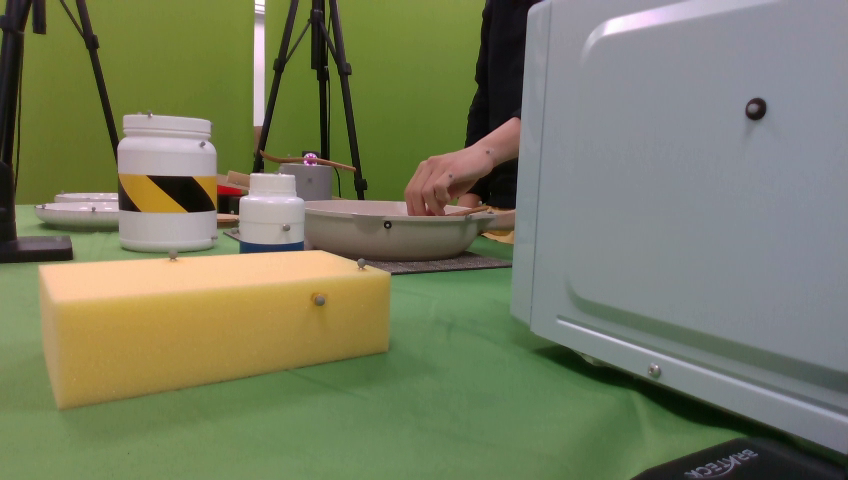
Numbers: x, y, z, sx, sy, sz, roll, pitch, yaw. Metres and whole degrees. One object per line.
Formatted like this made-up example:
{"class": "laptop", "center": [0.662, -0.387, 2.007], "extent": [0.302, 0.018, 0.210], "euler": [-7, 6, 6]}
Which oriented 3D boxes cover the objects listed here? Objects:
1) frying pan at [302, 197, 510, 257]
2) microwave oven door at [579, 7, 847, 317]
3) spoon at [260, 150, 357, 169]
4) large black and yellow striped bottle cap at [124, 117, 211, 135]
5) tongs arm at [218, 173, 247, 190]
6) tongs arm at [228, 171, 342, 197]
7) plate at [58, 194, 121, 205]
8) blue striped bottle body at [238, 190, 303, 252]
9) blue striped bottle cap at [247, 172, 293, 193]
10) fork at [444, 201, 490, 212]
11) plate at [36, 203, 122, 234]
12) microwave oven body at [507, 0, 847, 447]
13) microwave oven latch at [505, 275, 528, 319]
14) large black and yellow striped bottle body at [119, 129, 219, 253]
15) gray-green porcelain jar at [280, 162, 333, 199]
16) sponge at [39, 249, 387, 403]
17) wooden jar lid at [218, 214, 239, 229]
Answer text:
{"class": "frying pan", "center": [0.050, -0.035, 0.915], "extent": [0.487, 0.102, 0.307], "euler": [-5, 7, 10]}
{"class": "microwave oven door", "center": [0.294, -0.067, 0.570], "extent": [0.358, 0.243, 0.039], "euler": [-3, 9, -31]}
{"class": "spoon", "center": [-0.231, -0.162, 1.221], "extent": [0.194, 0.021, 0.041], "euler": [3, 3, -16]}
{"class": "large black and yellow striped bottle cap", "center": [-0.366, -0.163, 0.866], "extent": [0.115, 0.019, 0.115], "euler": [3, 7, 0]}
{"class": "tongs arm", "center": [-0.315, -0.110, 1.448], "extent": [0.389, 0.027, 0.028], "euler": [11, -7, -26]}
{"class": "tongs arm", "center": [-0.267, -0.103, 1.378], "extent": [0.387, 0.026, 0.050], "euler": [11, -3, -40]}
{"class": "plate", "center": [-0.671, -0.074, 1.310], "extent": [0.209, 0.038, 0.209], "euler": [2, 8, 0]}
{"class": "blue striped bottle body", "center": [-0.153, -0.007, 0.606], "extent": [0.063, 0.120, 0.063], "euler": [2, 8, 0]}
{"class": "blue striped bottle cap", "center": [-0.152, -0.057, 0.598], "extent": [0.044, 0.020, 0.044], "euler": [3, 7, 0]}
{"class": "fork", "center": [-0.006, -0.020, 0.852], "extent": [0.207, 0.018, 0.028], "euler": [-22, -2, 10]}
{"class": "plate", "center": [-0.571, -0.040, 1.083], "extent": [0.208, 0.039, 0.207], "euler": [2, 8, 0]}
{"class": "microwave oven body", "center": [0.331, -0.042, 0.425], "extent": [0.444, 0.260, 0.324], "euler": [-2, 8, -31]}
{"class": "microwave oven latch", "center": [0.100, 0.041, 0.471], "extent": [0.079, 0.029, 0.030], "euler": [-1, 7, -28]}
{"class": "large black and yellow striped bottle body", "center": [-0.367, -0.080, 0.876], "extent": [0.131, 0.184, 0.130], "euler": [2, 7, 0]}
{"class": "gray-green porcelain jar", "center": [-0.238, -0.091, 1.221], "extent": [0.106, 0.126, 0.106], "euler": [2, 7, 0]}
{"class": "sponge", "center": [-0.142, 0.047, 0.420], "extent": [0.208, 0.061, 0.117], "euler": [-3, 8, -36]}
{"class": "wooden jar lid", "center": [-0.404, -0.037, 1.169], "extent": [0.108, 0.020, 0.108], "euler": [3, 7, 0]}
